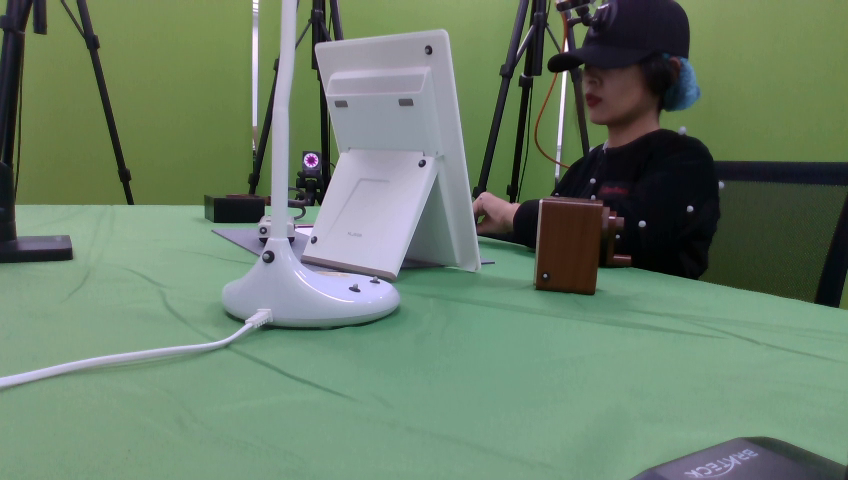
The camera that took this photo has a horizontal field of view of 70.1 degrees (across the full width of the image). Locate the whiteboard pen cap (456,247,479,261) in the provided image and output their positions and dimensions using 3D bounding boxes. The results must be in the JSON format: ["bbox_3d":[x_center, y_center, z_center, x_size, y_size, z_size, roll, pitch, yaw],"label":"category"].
[{"bbox_3d":[0.060,0.020,0.851,0.033,0.018,0.018,10,10,37],"label":"whiteboard pen cap"}]

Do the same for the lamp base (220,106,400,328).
[{"bbox_3d":[-0.101,-0.023,0.531,0.160,0.180,0.179,4,10,10],"label":"lamp base"}]

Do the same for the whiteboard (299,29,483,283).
[{"bbox_3d":[-0.074,-0.082,0.742,0.216,0.305,0.144,9,30,38],"label":"whiteboard"}]

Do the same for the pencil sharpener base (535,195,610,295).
[{"bbox_3d":[0.172,0.005,0.696,0.076,0.107,0.061,5,8,16],"label":"pencil sharpener base"}]

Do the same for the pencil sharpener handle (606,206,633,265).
[{"bbox_3d":[0.223,-0.004,0.683,0.030,0.068,0.036,5,20,16],"label":"pencil sharpener handle"}]

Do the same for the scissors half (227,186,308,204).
[{"bbox_3d":[-0.336,-0.096,1.305,0.176,0.040,0.013,-3,16,-29],"label":"scissors half"}]

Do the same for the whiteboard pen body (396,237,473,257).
[{"bbox_3d":[0.014,0.012,0.886,0.140,0.017,0.017,10,10,38],"label":"whiteboard pen body"}]

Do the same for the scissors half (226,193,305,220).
[{"bbox_3d":[-0.341,-0.077,1.310,0.176,0.040,0.012,17,11,-33],"label":"scissors half"}]

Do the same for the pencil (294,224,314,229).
[{"bbox_3d":[-0.221,-0.029,1.211,0.195,0.012,0.012,-4,10,-34],"label":"pencil"}]

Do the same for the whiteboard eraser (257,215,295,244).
[{"bbox_3d":[-0.232,-0.016,0.951,0.056,0.042,0.112,2,7,-12],"label":"whiteboard eraser"}]
